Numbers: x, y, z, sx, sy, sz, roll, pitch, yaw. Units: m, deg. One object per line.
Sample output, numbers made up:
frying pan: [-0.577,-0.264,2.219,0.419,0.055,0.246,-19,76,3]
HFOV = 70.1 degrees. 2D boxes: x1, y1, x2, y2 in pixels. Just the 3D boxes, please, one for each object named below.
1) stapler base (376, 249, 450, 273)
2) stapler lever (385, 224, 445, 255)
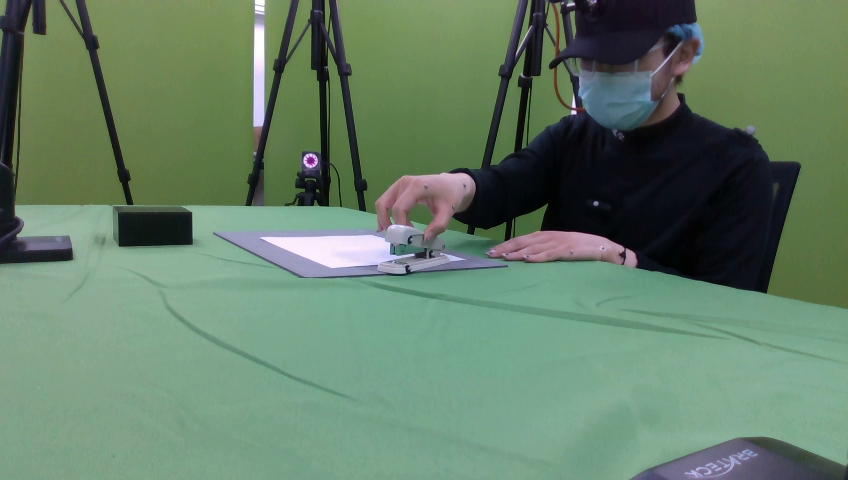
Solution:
stapler base: [-0.012,0.023,0.795,0.041,0.024,0.131,10,8,30]
stapler lever: [-0.010,-0.002,0.794,0.026,0.040,0.118,10,8,30]
